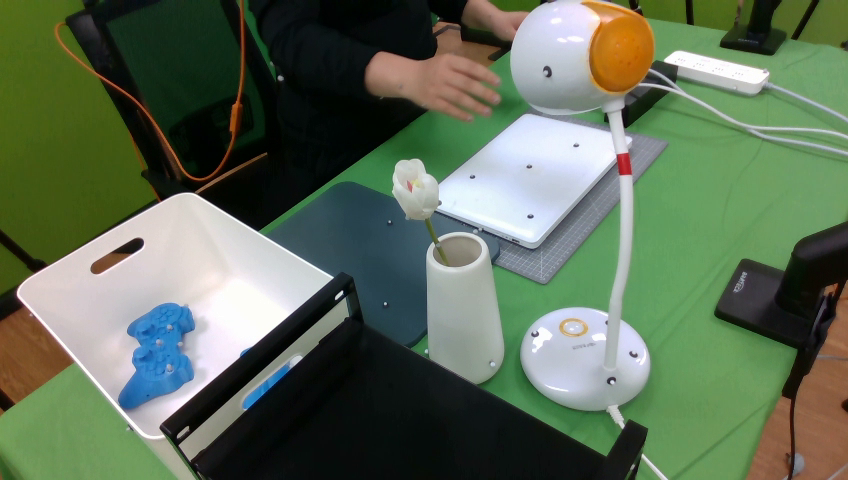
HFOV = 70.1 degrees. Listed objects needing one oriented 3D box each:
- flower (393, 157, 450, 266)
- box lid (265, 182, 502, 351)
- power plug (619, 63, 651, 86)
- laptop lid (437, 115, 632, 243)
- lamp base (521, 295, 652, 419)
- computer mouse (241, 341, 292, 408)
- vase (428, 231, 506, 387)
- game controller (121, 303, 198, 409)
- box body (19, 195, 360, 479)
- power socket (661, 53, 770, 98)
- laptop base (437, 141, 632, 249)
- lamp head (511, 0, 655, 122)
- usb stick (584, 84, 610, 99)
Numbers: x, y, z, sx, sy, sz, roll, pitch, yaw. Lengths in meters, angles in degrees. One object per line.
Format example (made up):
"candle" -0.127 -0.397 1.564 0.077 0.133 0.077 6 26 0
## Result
"flower" 0.028 0.036 0.664 0.043 0.364 0.038 36 73 30
"box lid" -0.087 0.023 0.971 0.368 0.015 0.264 23 49 31
"power plug" 0.435 -0.341 1.265 0.035 0.053 0.072 6 30 -14
"laptop lid" 0.189 -0.126 1.081 0.239 0.013 0.358 23 48 35
"lamp base" 0.201 0.095 0.710 0.161 0.181 0.178 -16 43 -10
"computer mouse" -0.201 0.177 0.776 0.063 0.041 0.116 -11 44 -8
"vase" 0.050 0.087 0.728 0.098 0.201 0.097 -3 40 3
"game controller" -0.364 0.149 0.828 0.097 0.052 0.154 -13 41 -9
"box body" -0.288 0.118 0.772 0.361 0.161 0.255 26 50 33
"power socket" 0.617 -0.355 1.292 0.225 0.033 0.072 29 53 35
"laptop base" 0.192 -0.117 1.087 0.233 0.023 0.355 21 48 34
"lamp head" 0.155 -0.168 0.563 0.113 0.113 0.122 -18 23 -12
"usb stick" 0.354 -0.306 1.252 0.027 0.021 0.058 -3 2 -39
